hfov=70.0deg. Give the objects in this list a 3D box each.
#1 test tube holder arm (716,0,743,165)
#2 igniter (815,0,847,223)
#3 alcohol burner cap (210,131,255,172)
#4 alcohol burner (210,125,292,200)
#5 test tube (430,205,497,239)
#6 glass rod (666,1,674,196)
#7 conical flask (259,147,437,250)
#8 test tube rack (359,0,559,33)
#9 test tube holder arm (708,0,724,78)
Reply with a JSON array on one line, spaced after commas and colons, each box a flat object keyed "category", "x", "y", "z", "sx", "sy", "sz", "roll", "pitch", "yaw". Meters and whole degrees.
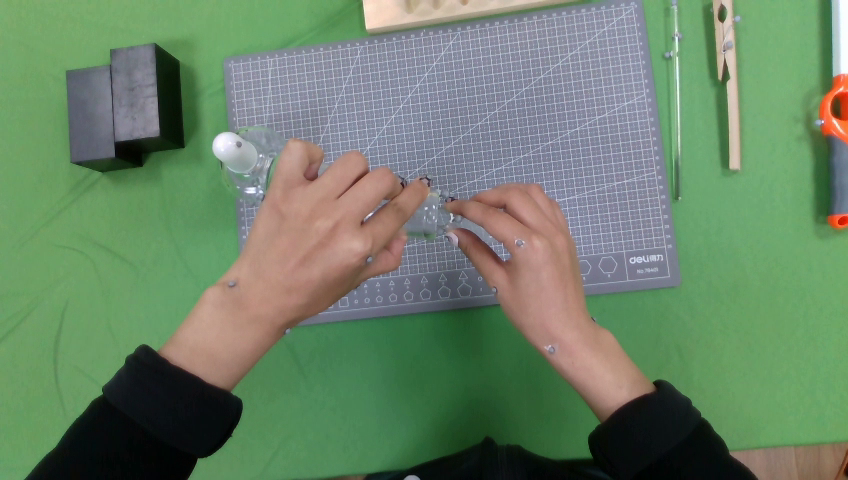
[{"category": "test tube holder arm", "x": 0.304, "y": -0.163, "z": 0.604, "sx": 0.013, "sy": 0.015, "sz": 0.178, "roll": -9, "pitch": 84, "yaw": 41}, {"category": "igniter", "x": 0.409, "y": -0.154, "z": 0.589, "sx": 0.057, "sy": 0.025, "sz": 0.276, "roll": 2, "pitch": 87, "yaw": -4}, {"category": "alcohol burner cap", "x": -0.181, "y": -0.085, "z": 0.563, "sx": 0.034, "sy": 0.048, "sz": 0.033, "roll": 0, "pitch": 81, "yaw": 3}, {"category": "alcohol burner", "x": -0.176, "y": -0.080, "z": 0.599, "sx": 0.078, "sy": 0.119, "sz": 0.077, "roll": -1, "pitch": 85, "yaw": 9}, {"category": "test tube", "x": 0.038, "y": -0.014, "z": 0.529, "sx": 0.017, "sy": 0.151, "sz": 0.017, "roll": -2, "pitch": 85, "yaw": 22}, {"category": "glass rod", "x": 0.250, "y": -0.143, "z": 0.614, "sx": 0.008, "sy": 0.008, "sz": 0.199, "roll": 0, "pitch": 88, "yaw": 6}, {"category": "conical flask", "x": -0.053, "y": -0.025, "z": 0.444, "sx": 0.122, "sy": 0.075, "sz": 0.075, "roll": 5, "pitch": 86, "yaw": -1}, {"category": "test tube rack", "x": 0.046, "y": -0.276, "z": 0.606, "sx": 0.242, "sy": 0.085, "sz": 0.066, "roll": -8, "pitch": 85, "yaw": 5}, {"category": "test tube holder arm", "x": 0.296, "y": -0.207, "z": 0.611, "sx": 0.010, "sy": 0.015, "sz": 0.087, "roll": -7, "pitch": 85, "yaw": 41}]
